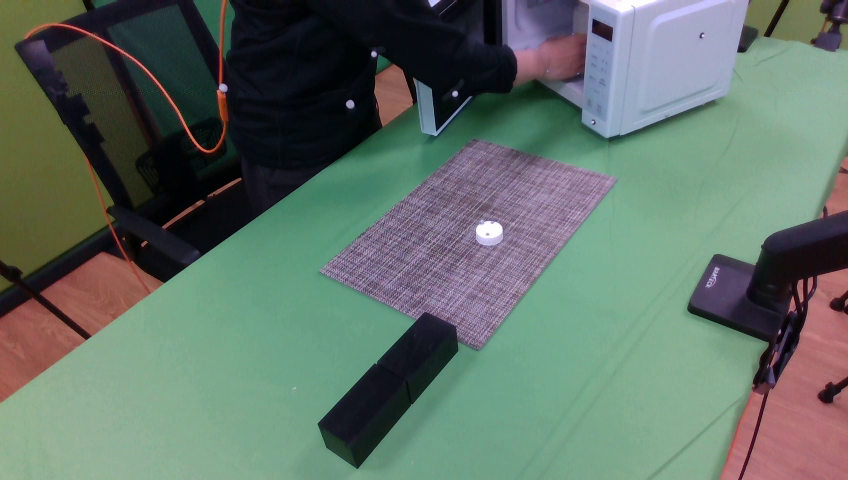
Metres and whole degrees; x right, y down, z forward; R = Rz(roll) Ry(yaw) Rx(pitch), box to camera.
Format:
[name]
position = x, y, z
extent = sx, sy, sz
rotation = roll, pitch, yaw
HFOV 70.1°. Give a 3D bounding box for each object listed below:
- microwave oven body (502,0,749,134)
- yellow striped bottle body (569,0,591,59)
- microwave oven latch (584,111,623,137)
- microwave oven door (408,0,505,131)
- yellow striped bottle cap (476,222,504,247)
[microwave oven body]
position = 0.381, -0.444, 1.246
extent = 0.327, 0.261, 0.437
rotation = -22, 42, -16
[yellow striped bottle body]
position = 0.339, -0.449, 1.270
extent = 0.063, 0.121, 0.062
rotation = -5, 44, 5
[microwave oven latch]
position = 0.337, -0.222, 1.142
extent = 0.030, 0.029, 0.078
rotation = -21, 42, -14
[microwave oven door]
position = 0.079, -0.418, 1.242
extent = 0.039, 0.245, 0.356
rotation = 15, 46, 24
[yellow striped bottle cap]
position = 0.105, -0.010, 0.966
extent = 0.044, 0.019, 0.044
rotation = -4, 39, 3
